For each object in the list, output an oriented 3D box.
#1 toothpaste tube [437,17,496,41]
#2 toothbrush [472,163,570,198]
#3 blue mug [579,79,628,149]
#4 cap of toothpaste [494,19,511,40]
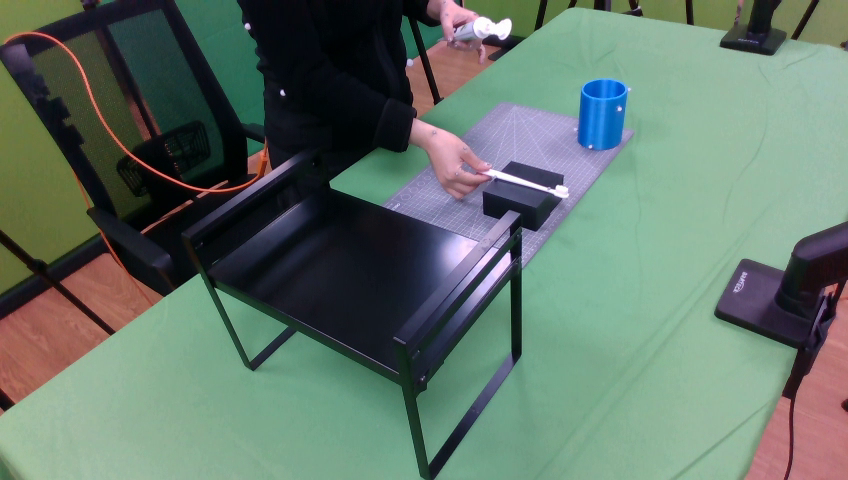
[{"bbox_3d":[0.083,-0.385,1.118,0.055,0.034,0.164,-14,16,-22],"label":"toothpaste tube"},{"bbox_3d":[0.157,-0.102,0.996,0.180,0.017,0.014,21,54,29],"label":"toothbrush"},{"bbox_3d":[0.336,-0.246,1.143,0.082,0.106,0.116,0,41,10],"label":"blue mug"},{"bbox_3d":[0.136,-0.366,1.047,0.011,0.037,0.037,10,29,-35],"label":"cap of toothpaste"}]
